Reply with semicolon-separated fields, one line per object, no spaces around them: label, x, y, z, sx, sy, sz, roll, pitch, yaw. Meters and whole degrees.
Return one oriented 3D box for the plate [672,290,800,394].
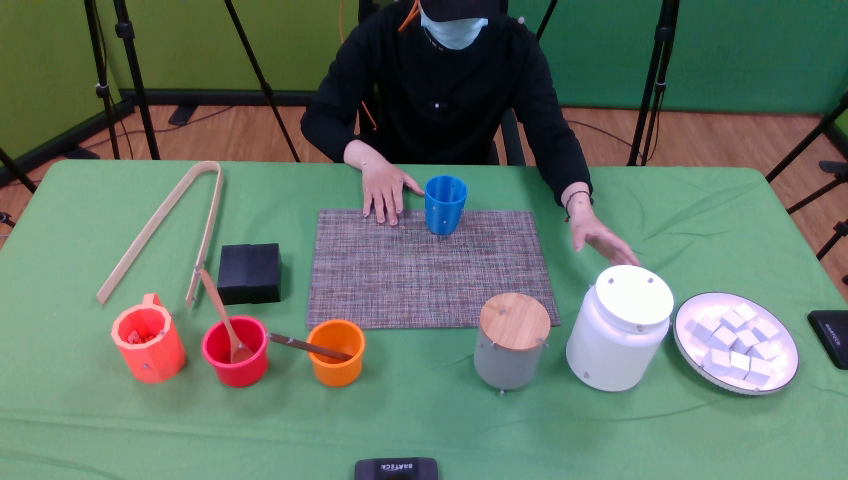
plate;0.533;0.178;1.050;0.208;0.039;0.206;2;46;-2

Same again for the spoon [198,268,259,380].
spoon;-0.312;0.132;0.962;0.041;0.021;0.194;-24;96;-22

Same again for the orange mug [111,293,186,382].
orange mug;-0.435;0.149;0.969;0.083;0.101;0.125;-5;51;-8

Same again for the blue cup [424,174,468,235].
blue cup;0.039;-0.064;1.201;0.093;0.101;0.092;3;46;-3

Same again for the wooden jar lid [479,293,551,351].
wooden jar lid;0.138;0.127;0.925;0.108;0.021;0.107;1;47;-1

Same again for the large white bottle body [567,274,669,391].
large white bottle body;0.310;0.141;0.967;0.131;0.185;0.130;1;46;-1

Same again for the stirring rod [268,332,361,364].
stirring rod;-0.166;0.169;0.941;0.177;0.006;0.014;26;27;-40

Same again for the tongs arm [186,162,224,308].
tongs arm;-0.435;-0.024;1.181;0.051;0.026;0.382;-2;45;0

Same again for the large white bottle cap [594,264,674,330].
large white bottle cap;0.314;0.083;0.906;0.115;0.018;0.114;2;46;-2

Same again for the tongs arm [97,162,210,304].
tongs arm;-0.519;-0.029;1.183;0.028;0.028;0.385;6;45;12

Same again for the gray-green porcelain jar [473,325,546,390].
gray-green porcelain jar;0.135;0.170;0.969;0.106;0.127;0.105;2;46;-2
